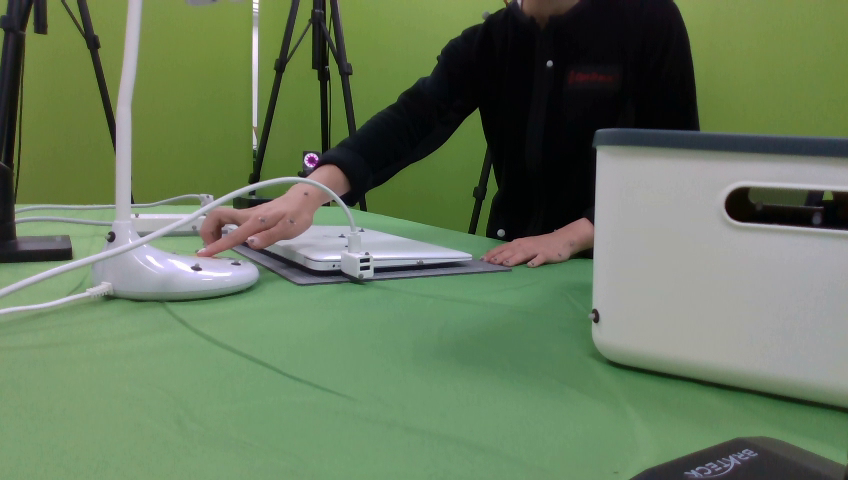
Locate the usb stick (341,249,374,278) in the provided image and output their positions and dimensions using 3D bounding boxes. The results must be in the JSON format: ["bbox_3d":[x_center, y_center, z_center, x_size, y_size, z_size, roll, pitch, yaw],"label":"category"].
[{"bbox_3d":[-0.079,0.026,0.687,0.021,0.027,0.059,-8,9,-30],"label":"usb stick"}]

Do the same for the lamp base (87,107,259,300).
[{"bbox_3d":[-0.254,-0.039,0.603,0.160,0.180,0.179,5,10,18],"label":"lamp base"}]

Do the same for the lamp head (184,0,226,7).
[{"bbox_3d":[-0.229,-0.320,0.627,0.112,0.112,0.123,6,-35,26],"label":"lamp head"}]

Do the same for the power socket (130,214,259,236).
[{"bbox_3d":[-0.397,-0.028,1.048,0.228,0.032,0.072,-3,7,-35],"label":"power socket"}]

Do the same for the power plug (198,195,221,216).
[{"bbox_3d":[-0.386,-0.055,1.088,0.035,0.052,0.072,-1,6,-24],"label":"power plug"}]

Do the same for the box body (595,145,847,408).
[{"bbox_3d":[0.309,0.006,0.509,0.253,0.160,0.366,6,8,29],"label":"box body"}]

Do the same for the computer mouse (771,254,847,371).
[{"bbox_3d":[0.344,0.057,0.519,0.063,0.041,0.117,12,47,4],"label":"computer mouse"}]

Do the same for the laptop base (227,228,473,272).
[{"bbox_3d":[-0.123,0.012,0.889,0.237,0.023,0.352,1,7,-35],"label":"laptop base"}]

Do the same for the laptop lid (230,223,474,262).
[{"bbox_3d":[-0.121,0.000,0.888,0.243,0.013,0.355,1,7,-33],"label":"laptop lid"}]

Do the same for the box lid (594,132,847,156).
[{"bbox_3d":[0.310,-0.066,0.499,0.262,0.015,0.373,7,8,29],"label":"box lid"}]
